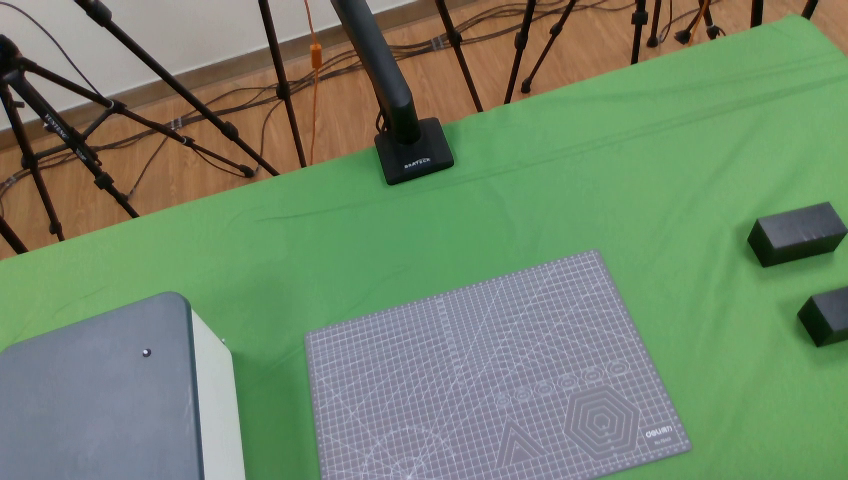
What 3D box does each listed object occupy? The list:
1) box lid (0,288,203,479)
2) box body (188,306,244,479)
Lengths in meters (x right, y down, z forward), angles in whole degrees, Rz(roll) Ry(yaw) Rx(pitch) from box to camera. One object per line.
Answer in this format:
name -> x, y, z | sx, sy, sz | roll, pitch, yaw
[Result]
box lid -> -0.378, 0.238, 0.674 | 0.263, 0.015, 0.367 | -19, 57, -2
box body -> -0.366, 0.280, 0.735 | 0.254, 0.162, 0.360 | -19, 57, -2
